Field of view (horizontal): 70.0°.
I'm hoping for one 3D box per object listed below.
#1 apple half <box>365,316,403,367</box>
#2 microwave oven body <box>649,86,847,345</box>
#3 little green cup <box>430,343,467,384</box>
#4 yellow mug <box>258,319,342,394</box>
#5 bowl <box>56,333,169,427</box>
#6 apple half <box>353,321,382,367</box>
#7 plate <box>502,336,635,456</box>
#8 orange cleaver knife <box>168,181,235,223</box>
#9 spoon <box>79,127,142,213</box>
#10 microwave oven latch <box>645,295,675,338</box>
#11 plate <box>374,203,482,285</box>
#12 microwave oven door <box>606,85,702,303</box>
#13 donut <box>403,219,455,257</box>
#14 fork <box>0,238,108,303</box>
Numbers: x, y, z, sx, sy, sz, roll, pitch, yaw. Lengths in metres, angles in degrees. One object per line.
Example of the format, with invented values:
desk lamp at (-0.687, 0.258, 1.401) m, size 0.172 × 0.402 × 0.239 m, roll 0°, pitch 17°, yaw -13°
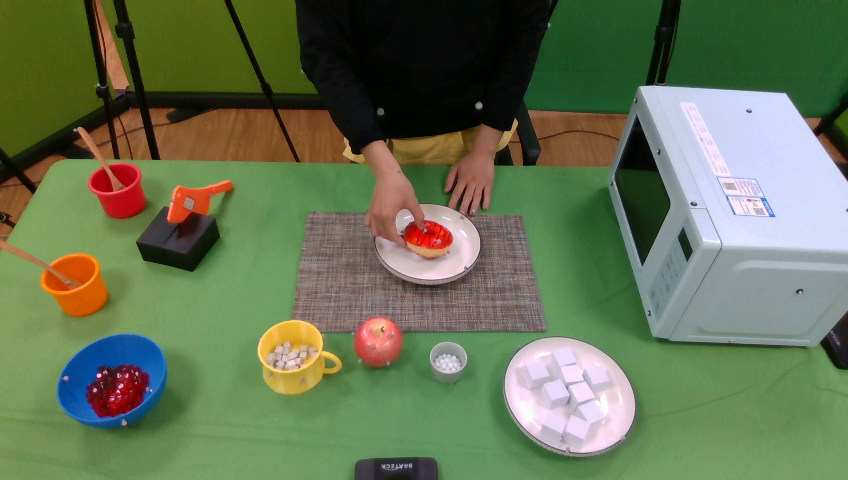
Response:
apple half at (-0.063, 0.165, 1.000) m, size 0.053 × 0.075 × 0.080 m, roll -16°, pitch 45°, yaw -24°
microwave oven body at (0.567, -0.053, 1.118) m, size 0.326 × 0.261 × 0.439 m, roll 2°, pitch 45°, yaw -1°
little green cup at (0.039, 0.203, 0.994) m, size 0.061 × 0.039 × 0.061 m, roll 2°, pitch 46°, yaw -2°
yellow mug at (-0.196, 0.188, 0.972) m, size 0.131 × 0.064 × 0.099 m, roll 9°, pitch 46°, yaw 4°
bowl at (-0.456, 0.223, 0.911) m, size 0.151 × 0.077 × 0.150 m, roll 3°, pitch 46°, yaw -2°
apple half at (-0.098, 0.177, 0.984) m, size 0.033 × 0.081 × 0.081 m, roll -17°, pitch 49°, yaw -25°
plate at (0.225, 0.248, 0.963) m, size 0.208 × 0.039 × 0.206 m, roll 2°, pitch 46°, yaw -2°
orange cleaver knife at (-0.436, -0.078, 1.196) m, size 0.012 × 0.077 × 0.211 m, roll 15°, pitch 15°, yaw 10°
spoon at (-0.625, -0.139, 1.203) m, size 0.041 × 0.021 × 0.194 m, roll -33°, pitch 101°, yaw -26°
microwave oven latch at (0.412, 0.134, 1.061) m, size 0.030 × 0.029 × 0.078 m, roll 3°, pitch 45°, yaw 0°
plate at (0.007, 0.011, 1.172) m, size 0.209 × 0.038 × 0.208 m, roll 2°, pitch 46°, yaw -2°
microwave oven door at (0.423, -0.094, 1.140) m, size 0.039 × 0.245 × 0.353 m, roll 2°, pitch 46°, yaw -1°
donut at (0.009, -0.004, 1.160) m, size 0.099 × 0.048 × 0.098 m, roll 8°, pitch 33°, yaw -5°
fork at (-0.633, 0.048, 1.017) m, size 0.208 × 0.018 × 0.028 m, roll 40°, pitch 41°, yaw -27°
